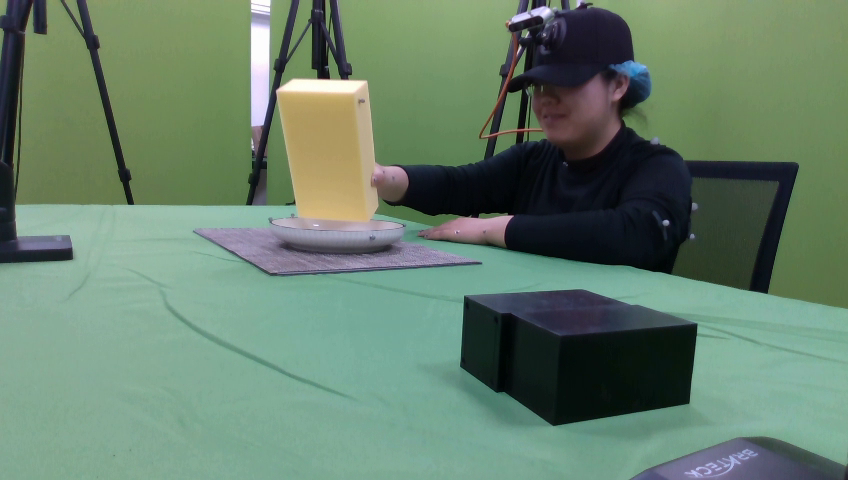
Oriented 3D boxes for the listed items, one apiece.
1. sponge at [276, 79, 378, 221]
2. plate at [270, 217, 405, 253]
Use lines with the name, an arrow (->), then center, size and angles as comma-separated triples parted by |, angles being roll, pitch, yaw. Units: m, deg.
sponge -> -0.141, -0.134, 0.913 | 0.118, 0.207, 0.061 | 6, 33, 12
plate -> -0.134, -0.009, 0.946 | 0.208, 0.039, 0.207 | 3, 7, 0
